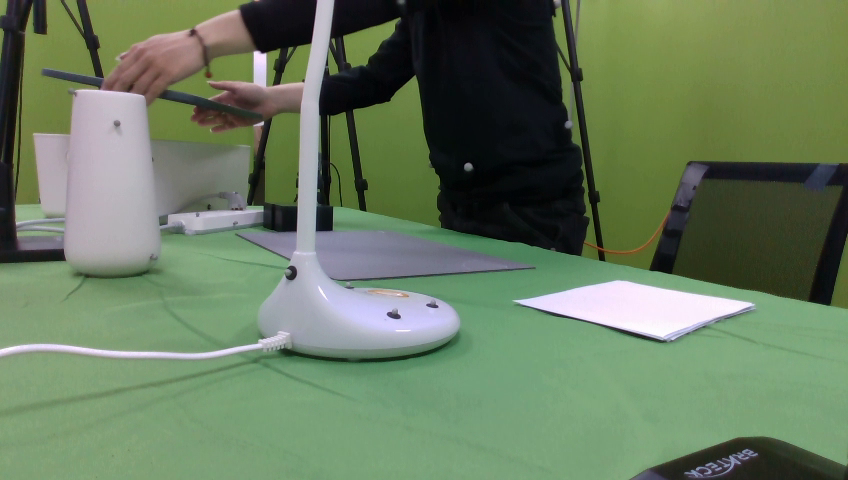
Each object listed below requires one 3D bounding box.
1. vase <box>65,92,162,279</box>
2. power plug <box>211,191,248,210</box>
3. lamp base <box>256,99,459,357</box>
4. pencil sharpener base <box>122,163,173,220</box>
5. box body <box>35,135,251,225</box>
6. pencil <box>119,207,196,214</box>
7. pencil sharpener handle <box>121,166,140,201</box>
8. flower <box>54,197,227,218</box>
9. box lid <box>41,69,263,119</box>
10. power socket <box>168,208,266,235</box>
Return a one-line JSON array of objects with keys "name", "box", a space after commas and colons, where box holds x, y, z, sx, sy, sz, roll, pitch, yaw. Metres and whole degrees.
[{"name": "vase", "box": [-0.347, -0.060, 0.673, 0.098, 0.200, 0.098, 1, 7, 0]}, {"name": "power plug", "box": [-0.384, -0.072, 1.206, 0.072, 0.052, 0.035, 3, 10, 29]}, {"name": "lamp base", "box": [-0.055, -0.013, 0.463, 0.160, 0.180, 0.180, 6, 11, 27]}, {"name": "pencil sharpener base", "box": [-0.539, -0.095, 1.175, 0.076, 0.107, 0.061, 5, 8, 21]}, {"name": "box body", "box": [-0.559, -0.127, 1.257, 0.253, 0.160, 0.365, 4, 8, 15]}, {"name": "pencil", "box": [-0.586, -0.067, 1.342, 0.012, 0.012, 0.195, 6, 7, 28]}, {"name": "pencil sharpener handle", "box": [-0.585, -0.112, 1.193, 0.030, 0.067, 0.036, 5, 13, 21]}, {"name": "flower", "box": [-0.574, -0.058, 1.267, 0.044, 0.038, 0.364, 37, 21, 33]}, {"name": "box lid", "box": [-0.476, -0.264, 1.128, 0.263, 0.015, 0.371, 11, 8, 2]}, {"name": "power socket", "box": [-0.379, -0.038, 1.129, 0.072, 0.032, 0.227, 4, 8, 18]}]
